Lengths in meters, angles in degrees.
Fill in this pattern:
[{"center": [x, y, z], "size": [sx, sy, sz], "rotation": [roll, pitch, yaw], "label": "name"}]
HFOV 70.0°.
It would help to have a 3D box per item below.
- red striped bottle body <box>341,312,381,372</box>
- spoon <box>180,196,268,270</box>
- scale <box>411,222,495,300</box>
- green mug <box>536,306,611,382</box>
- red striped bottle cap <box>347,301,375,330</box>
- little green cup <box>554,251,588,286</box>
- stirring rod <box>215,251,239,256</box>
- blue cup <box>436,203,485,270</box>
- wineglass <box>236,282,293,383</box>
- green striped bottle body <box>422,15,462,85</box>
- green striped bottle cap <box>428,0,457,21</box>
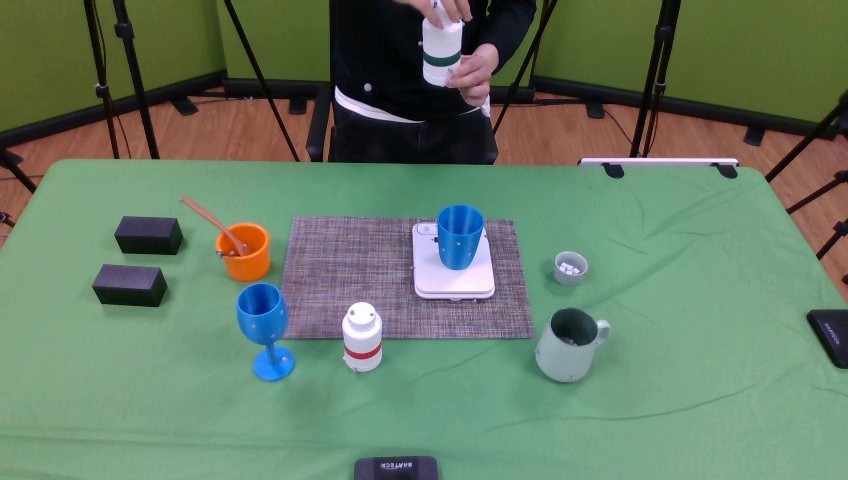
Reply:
[{"center": [-0.100, 0.154, 0.972], "size": [0.063, 0.120, 0.062], "rotation": [2, 46, -2], "label": "red striped bottle body"}, {"center": [-0.360, -0.014, 1.094], "size": [0.021, 0.194, 0.041], "rotation": [-27, 26, 31], "label": "spoon"}, {"center": [0.052, 0.031, 1.158], "size": [0.149, 0.032, 0.199], "rotation": [1, 46, -4], "label": "scale"}, {"center": [0.250, 0.167, 0.996], "size": [0.125, 0.105, 0.092], "rotation": [-15, 49, -18], "label": "green mug"}, {"center": [-0.097, 0.116, 0.934], "size": [0.044, 0.018, 0.044], "rotation": [3, 49, -3], "label": "red striped bottle cap"}, {"center": [0.277, 0.055, 1.151], "size": [0.061, 0.039, 0.061], "rotation": [1, 46, -1], "label": "little green cup"}, {"center": [-0.339, 0.024, 1.059], "size": [0.014, 0.176, 0.006], "rotation": [16, 86, -6], "label": "stirring rod"}, {"center": [0.062, -0.001, 1.099], "size": [0.093, 0.101, 0.092], "rotation": [2, 44, -2], "label": "blue cup"}, {"center": [-0.243, 0.143, 0.934], "size": [0.074, 0.173, 0.073], "rotation": [2, 46, -2], "label": "wineglass"}, {"center": [0.028, -0.315, 0.971], "size": [0.063, 0.120, 0.063], "rotation": [0, 50, 0], "label": "green striped bottle body"}, {"center": [0.028, -0.353, 0.926], "size": [0.044, 0.020, 0.044], "rotation": [-1, 45, 2], "label": "green striped bottle cap"}]
